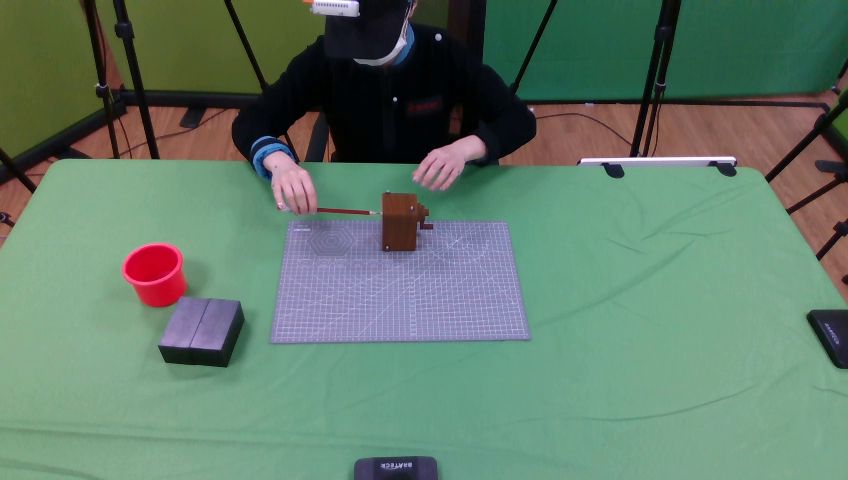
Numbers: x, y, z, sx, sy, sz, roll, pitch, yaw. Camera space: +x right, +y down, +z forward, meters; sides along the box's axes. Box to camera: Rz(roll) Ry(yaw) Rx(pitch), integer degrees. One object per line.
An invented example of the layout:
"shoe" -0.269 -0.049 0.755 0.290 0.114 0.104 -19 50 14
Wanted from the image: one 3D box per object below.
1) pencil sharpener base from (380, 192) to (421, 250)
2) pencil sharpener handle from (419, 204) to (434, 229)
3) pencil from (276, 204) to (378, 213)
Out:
"pencil sharpener base" -0.046 -0.035 1.163 0.077 0.107 0.061 0 46 -4
"pencil sharpener handle" 0.006 -0.045 1.160 0.031 0.068 0.036 0 52 -4
"pencil" -0.182 -0.058 1.147 0.194 0.012 0.012 3 46 0
